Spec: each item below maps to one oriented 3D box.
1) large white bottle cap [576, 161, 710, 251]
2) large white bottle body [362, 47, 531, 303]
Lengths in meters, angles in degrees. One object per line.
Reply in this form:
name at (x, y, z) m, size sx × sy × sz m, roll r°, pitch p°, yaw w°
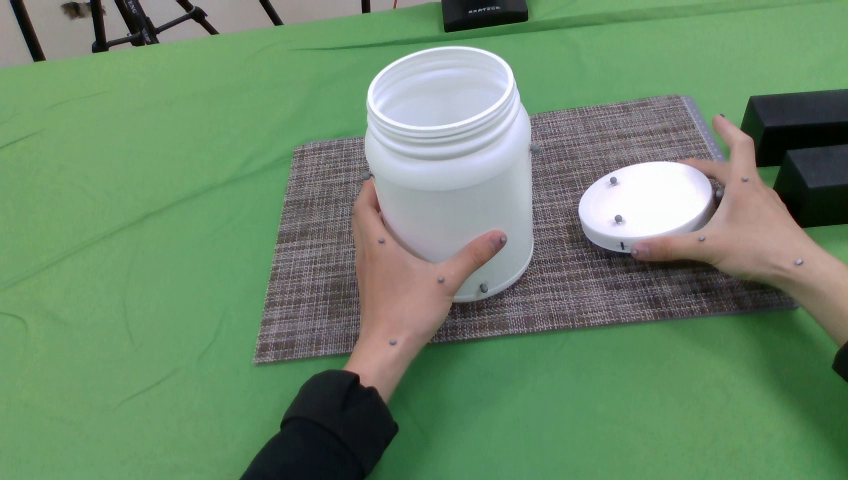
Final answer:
large white bottle cap at (0.196, -0.033, 0.550) m, size 0.114 × 0.018 × 0.113 m, roll -18°, pitch 33°, yaw 13°
large white bottle body at (0.022, -0.050, 0.504) m, size 0.130 × 0.186 × 0.129 m, roll -5°, pitch 46°, yaw 6°
